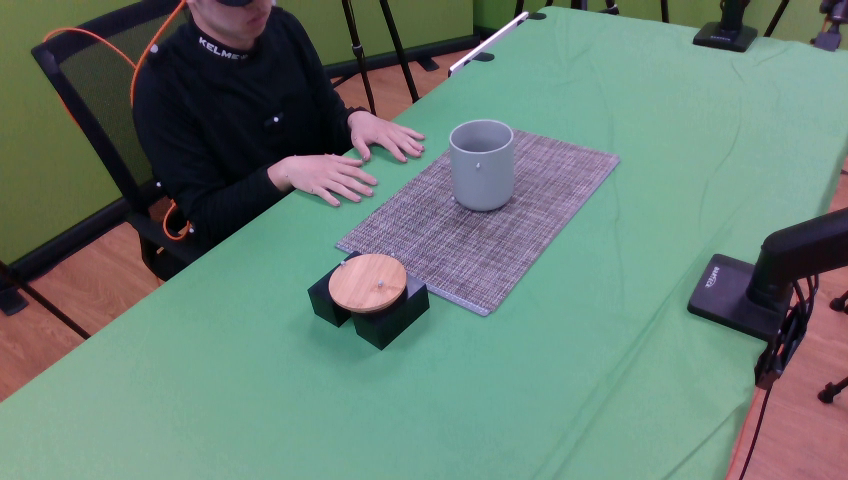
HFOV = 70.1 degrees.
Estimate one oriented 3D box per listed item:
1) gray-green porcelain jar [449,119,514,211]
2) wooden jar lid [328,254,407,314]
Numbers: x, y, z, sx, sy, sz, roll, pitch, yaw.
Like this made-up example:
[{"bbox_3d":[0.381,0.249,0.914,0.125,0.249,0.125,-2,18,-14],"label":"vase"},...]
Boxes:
[{"bbox_3d":[0.098,-0.120,1.009,0.106,0.127,0.105,-4,41,4],"label":"gray-green porcelain jar"},{"bbox_3d":[-0.077,0.062,0.832,0.108,0.021,0.108,-4,39,4],"label":"wooden jar lid"}]
